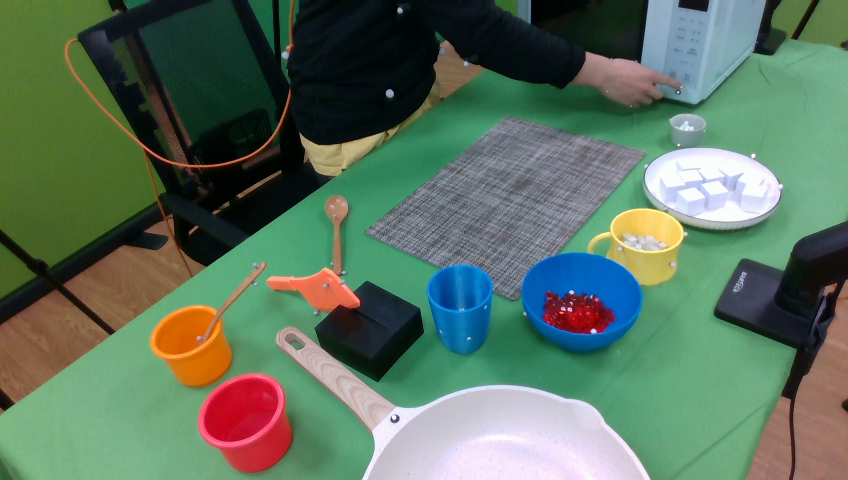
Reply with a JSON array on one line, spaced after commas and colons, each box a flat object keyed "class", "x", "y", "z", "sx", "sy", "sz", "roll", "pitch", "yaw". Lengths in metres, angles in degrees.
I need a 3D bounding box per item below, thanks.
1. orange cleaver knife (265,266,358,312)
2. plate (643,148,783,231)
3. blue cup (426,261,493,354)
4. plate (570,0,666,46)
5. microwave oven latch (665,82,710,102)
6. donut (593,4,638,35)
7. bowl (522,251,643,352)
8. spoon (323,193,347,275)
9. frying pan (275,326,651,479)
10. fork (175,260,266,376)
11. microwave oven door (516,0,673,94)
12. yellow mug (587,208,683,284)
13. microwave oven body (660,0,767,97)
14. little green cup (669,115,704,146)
[{"class": "orange cleaver knife", "x": -0.165, "y": 0.073, "z": 0.864, "sx": 0.210, "sy": 0.077, "sz": 0.012, "roll": -6, "pitch": 31, "yaw": 50}, {"class": "plate", "x": 0.464, "y": -0.080, "z": 0.985, "sx": 0.207, "sy": 0.039, "sz": 0.206, "roll": -4, "pitch": 41, "yaw": 4}, {"class": "blue cup", "x": 0.049, "y": 0.095, "z": 0.791, "sx": 0.092, "sy": 0.100, "sz": 0.092, "roll": -3, "pitch": 42, "yaw": 3}, {"class": "plate", "x": 0.436, "y": -0.487, "z": 1.368, "sx": 0.209, "sy": 0.038, "sz": 0.208, "roll": -4, "pitch": 40, "yaw": 4}, {"class": "microwave oven latch", "x": 0.522, "y": -0.300, "z": 1.203, "sx": 0.030, "sy": 0.029, "sz": 0.078, "roll": -32, "pitch": 46, "yaw": -24}, {"class": "donut", "x": 0.428, "y": -0.493, "z": 1.352, "sx": 0.099, "sy": 0.048, "sz": 0.098, "roll": -7, "pitch": 42, "yaw": 7}, {"class": "bowl", "x": 0.204, "y": 0.093, "z": 0.792, "sx": 0.151, "sy": 0.077, "sz": 0.150, "roll": -4, "pitch": 40, "yaw": 4}, {"class": "spoon", "x": -0.148, "y": -0.014, "z": 1.008, "sx": 0.042, "sy": 0.021, "sz": 0.192, "roll": 4, "pitch": 39, "yaw": -12}, {"class": "frying pan", "x": 0.004, "y": 0.229, "z": 0.641, "sx": 0.484, "sy": 0.103, "sz": 0.308, "roll": 34, "pitch": 54, "yaw": 28}, {"class": "fork", "x": -0.268, "y": 0.103, "z": 0.792, "sx": 0.207, "sy": 0.019, "sz": 0.028, "roll": -51, "pitch": 41, "yaw": 16}, {"class": "microwave oven door", "x": 0.344, "y": -0.458, "z": 1.257, "sx": 0.353, "sy": 0.245, "sz": 0.039, "roll": 26, "pitch": 52, "yaw": 33}, {"class": "yellow mug", "x": 0.305, "y": 0.009, "z": 0.884, "sx": 0.131, "sy": 0.064, "sz": 0.099, "roll": -4, "pitch": 40, "yaw": 5}, {"class": "microwave oven body", "x": 0.473, "y": -0.516, "z": 1.313, "sx": 0.438, "sy": 0.261, "sz": 0.327, "roll": 26, "pitch": 51, "yaw": 34}, {"class": "little green cup", "x": 0.486, "y": -0.203, "z": 1.123, "sx": 0.061, "sy": 0.039, "sz": 0.061, "roll": -6, "pitch": 38, "yaw": 5}]
